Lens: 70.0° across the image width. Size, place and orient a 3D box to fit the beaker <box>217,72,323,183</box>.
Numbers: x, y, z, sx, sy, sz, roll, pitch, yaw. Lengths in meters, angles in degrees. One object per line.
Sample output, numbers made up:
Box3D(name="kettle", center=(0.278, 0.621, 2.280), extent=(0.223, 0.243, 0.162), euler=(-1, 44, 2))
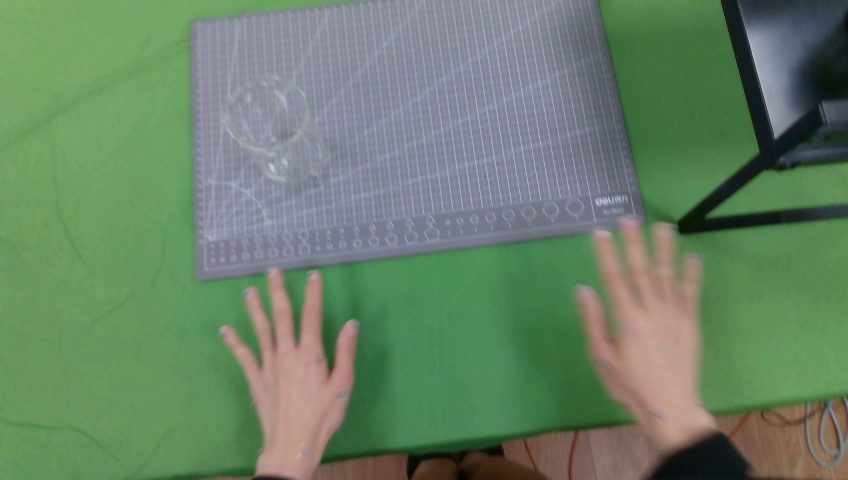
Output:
Box3D(name="beaker", center=(-0.142, -0.102, 0.582), extent=(0.084, 0.101, 0.073), euler=(3, 75, 2))
